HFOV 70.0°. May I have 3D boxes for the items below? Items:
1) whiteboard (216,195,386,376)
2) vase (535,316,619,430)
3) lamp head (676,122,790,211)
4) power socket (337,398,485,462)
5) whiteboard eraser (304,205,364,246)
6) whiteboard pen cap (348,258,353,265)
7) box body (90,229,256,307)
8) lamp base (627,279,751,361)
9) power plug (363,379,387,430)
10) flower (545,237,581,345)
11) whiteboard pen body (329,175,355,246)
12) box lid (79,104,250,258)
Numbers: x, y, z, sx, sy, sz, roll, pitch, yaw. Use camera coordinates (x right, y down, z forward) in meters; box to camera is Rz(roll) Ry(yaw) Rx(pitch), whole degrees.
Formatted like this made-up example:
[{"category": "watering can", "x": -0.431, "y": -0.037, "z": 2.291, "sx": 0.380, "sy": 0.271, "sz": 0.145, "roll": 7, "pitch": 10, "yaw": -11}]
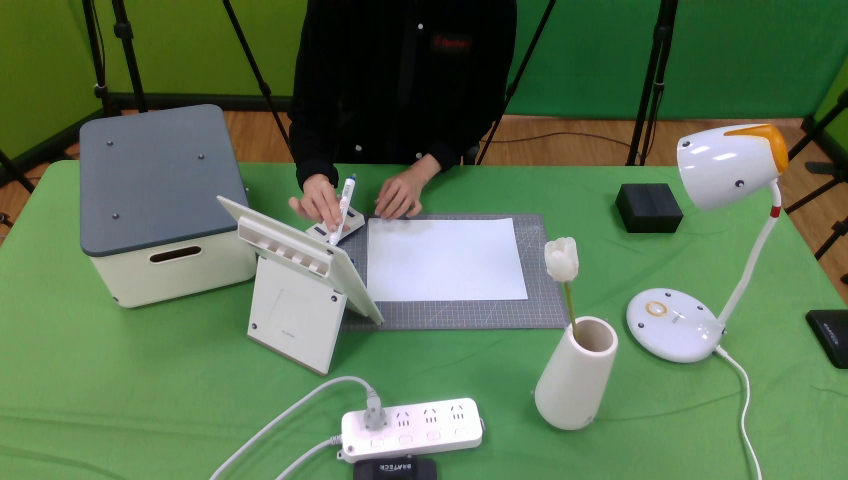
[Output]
[{"category": "whiteboard", "x": -0.212, "y": 0.093, "z": 0.939, "sx": 0.216, "sy": 0.307, "sz": 0.143, "roll": 24, "pitch": 70, "yaw": 17}, {"category": "vase", "x": 0.229, "y": 0.200, "z": 0.901, "sx": 0.098, "sy": 0.201, "sz": 0.097, "roll": 3, "pitch": 46, "yaw": -3}, {"category": "lamp head", "x": 0.423, "y": -0.104, "z": 0.819, "sx": 0.122, "sy": 0.113, "sz": 0.112, "roll": -13, "pitch": 33, "yaw": 40}, {"category": "power socket", "x": -0.018, "y": 0.285, "z": 0.914, "sx": 0.227, "sy": 0.033, "sz": 0.071, "roll": -4, "pitch": 46, "yaw": -8}, {"category": "whiteboard eraser", "x": -0.175, "y": -0.022, "z": 1.188, "sx": 0.055, "sy": 0.042, "sz": 0.112, "roll": 36, "pitch": 53, "yaw": 26}, {"category": "whiteboard pen cap", "x": -0.152, "y": 0.041, "z": 1.146, "sx": 0.033, "sy": 0.018, "sz": 0.018, "roll": 12, "pitch": 47, "yaw": 11}, {"category": "box body", "x": -0.471, "y": -0.070, "z": 1.131, "sx": 0.254, "sy": 0.161, "sz": 0.361, "roll": -14, "pitch": 49, "yaw": -17}, {"category": "lamp base", "x": 0.460, "y": 0.100, "z": 1.027, "sx": 0.178, "sy": 0.181, "sz": 0.160, "roll": 27, "pitch": 51, "yaw": 17}, {"category": "power plug", "x": -0.071, "y": 0.252, "z": 0.911, "sx": 0.035, "sy": 0.053, "sz": 0.072, "roll": 3, "pitch": 40, "yaw": 0}, {"category": "flower", "x": 0.213, "y": 0.137, "z": 0.846, "sx": 0.038, "sy": 0.364, "sz": 0.044, "roll": 21, "pitch": 55, "yaw": 40}, {"category": "whiteboard pen body", "x": -0.131, "y": -0.039, "z": 0.950, "sx": 0.017, "sy": 0.017, "sz": 0.140, "roll": 10, "pitch": 67, "yaw": 5}, {"category": "box lid", "x": -0.467, "y": -0.121, "z": 1.075, "sx": 0.264, "sy": 0.015, "sz": 0.369, "roll": -13, "pitch": 49, "yaw": -17}]
